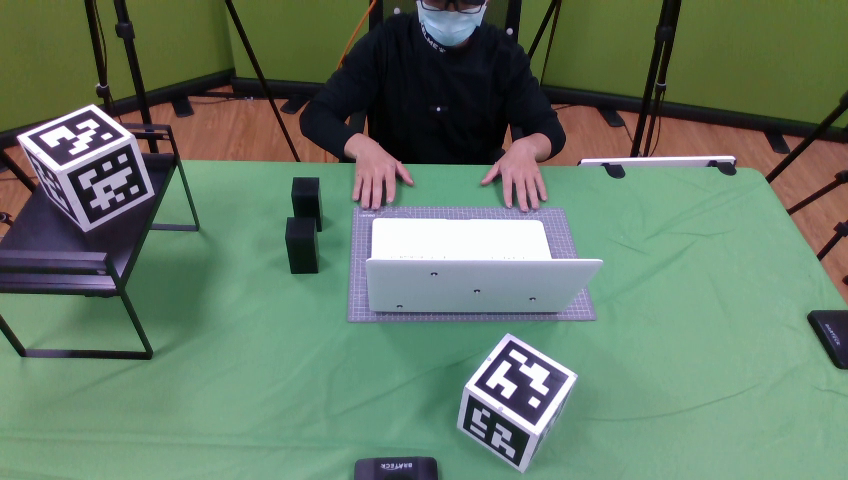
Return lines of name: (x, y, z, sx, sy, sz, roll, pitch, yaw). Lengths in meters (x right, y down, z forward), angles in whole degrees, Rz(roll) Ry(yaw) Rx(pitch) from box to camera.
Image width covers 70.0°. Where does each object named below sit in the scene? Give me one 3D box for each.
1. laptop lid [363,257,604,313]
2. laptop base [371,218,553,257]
laptop lid: (0.084, 0.076, 0.972, 0.357, 0.242, 0.013, 1, 64, -5)
laptop base: (0.074, 0.044, 1.159, 0.354, 0.023, 0.234, 0, 43, -3)
